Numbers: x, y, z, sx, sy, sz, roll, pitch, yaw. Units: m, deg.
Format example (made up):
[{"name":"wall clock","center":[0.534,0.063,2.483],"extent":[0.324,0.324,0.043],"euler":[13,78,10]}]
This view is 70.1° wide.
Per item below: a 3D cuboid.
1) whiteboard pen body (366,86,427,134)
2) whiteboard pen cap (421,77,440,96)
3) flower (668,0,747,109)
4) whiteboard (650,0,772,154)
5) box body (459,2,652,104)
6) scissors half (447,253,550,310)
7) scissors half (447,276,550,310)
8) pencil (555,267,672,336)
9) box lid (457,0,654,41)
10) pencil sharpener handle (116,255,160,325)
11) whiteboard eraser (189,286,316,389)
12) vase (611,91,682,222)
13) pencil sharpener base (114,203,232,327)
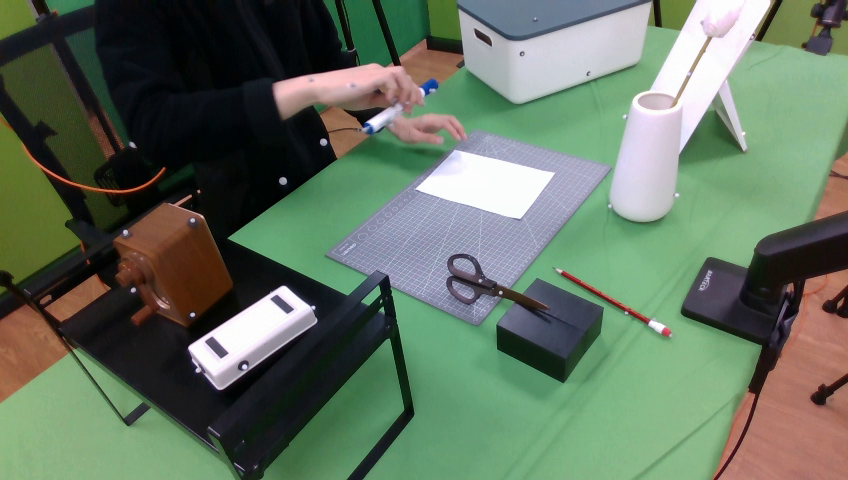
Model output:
[{"name":"whiteboard pen body","center":[-0.028,-0.178,0.799],"extent":[0.017,0.017,0.141],"euler":[22,48,30]},{"name":"whiteboard pen cap","center":[0.006,-0.210,0.834],"extent":[0.018,0.018,0.033],"euler":[22,49,30]},{"name":"flower","center":[0.354,-0.187,0.879],"extent":[0.038,0.362,0.044],"euler":[31,48,15]},{"name":"whiteboard","center":[0.543,-0.298,1.076],"extent":[0.144,0.305,0.216],"euler":[12,40,-7]},{"name":"box body","center":[0.291,-0.465,1.371],"extent":[0.365,0.161,0.252],"euler":[-22,42,-16]},{"name":"scissors half","center":[0.098,0.058,0.821],"extent":[0.173,0.040,0.013],"euler":[27,33,37]},{"name":"scissors half","center":[0.098,0.077,0.827],"extent":[0.174,0.040,0.013],"euler":[6,14,44]},{"name":"pencil","center":[0.260,0.082,0.851],"extent":[0.012,0.012,0.192],"euler":[-33,45,-27]},{"name":"box lid","center":[0.285,-0.522,1.323],"extent":[0.373,0.015,0.261],"euler":[-22,43,-16]},{"name":"pencil sharpener handle","center":[-0.286,0.050,0.594],"extent":[0.035,0.068,0.031],"euler":[7,41,35]},{"name":"whiteboard eraser","center":[-0.166,0.096,0.593],"extent":[0.113,0.042,0.055],"euler":[-36,46,-29]},{"name":"vase","center":[0.348,-0.125,0.935],"extent":[0.098,0.201,0.097],"euler":[-3,40,3]},{"name":"pencil sharpener base","center":[-0.262,0.029,0.635],"extent":[0.061,0.107,0.077],"euler":[18,47,26]}]
